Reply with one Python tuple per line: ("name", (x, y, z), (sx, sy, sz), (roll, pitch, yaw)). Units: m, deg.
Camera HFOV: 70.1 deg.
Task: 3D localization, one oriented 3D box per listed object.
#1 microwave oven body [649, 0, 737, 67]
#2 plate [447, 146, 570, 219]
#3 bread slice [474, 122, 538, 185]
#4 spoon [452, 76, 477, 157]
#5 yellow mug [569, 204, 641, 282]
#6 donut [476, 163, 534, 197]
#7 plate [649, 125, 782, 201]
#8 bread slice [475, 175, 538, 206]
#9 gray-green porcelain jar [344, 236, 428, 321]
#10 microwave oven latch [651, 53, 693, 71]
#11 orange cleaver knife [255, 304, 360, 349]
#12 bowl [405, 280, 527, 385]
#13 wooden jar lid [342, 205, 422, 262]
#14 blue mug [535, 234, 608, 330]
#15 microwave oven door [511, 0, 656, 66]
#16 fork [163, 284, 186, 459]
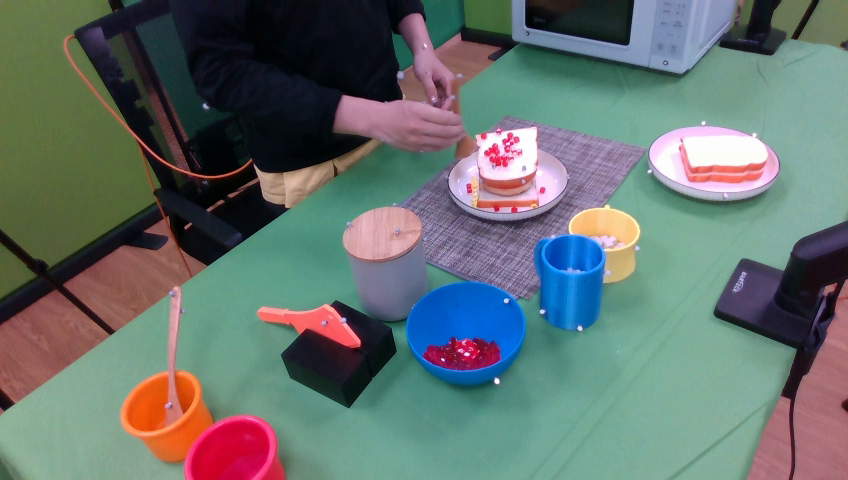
("microwave oven body", (0.475, -0.602, 1.411), (0.438, 0.261, 0.327), (23, 50, 32))
("plate", (0.145, -0.098, 1.046), (0.209, 0.038, 0.208), (-4, 40, 4))
("bread slice", (0.141, -0.144, 1.008), (0.107, 0.018, 0.133), (-8, 48, 9))
("spoon", (0.055, -0.180, 0.907), (0.041, 0.195, 0.021), (-28, 61, -4))
("yellow mug", (0.268, -0.005, 0.904), (0.099, 0.064, 0.130), (7, 41, 15))
("donut", (0.138, -0.116, 1.025), (0.099, 0.048, 0.098), (-8, 55, 13))
("plate", (0.493, -0.128, 1.036), (0.207, 0.039, 0.206), (-4, 41, 4))
("bread slice", (0.143, -0.104, 1.059), (0.105, 0.019, 0.131), (0, 44, 5))
("gray-green porcelain jar", (-0.049, 0.042, 0.849), (0.106, 0.127, 0.105), (-4, 41, 4))
("microwave oven latch", (0.532, -0.386, 1.301), (0.078, 0.029, 0.030), (27, 52, 34))
("orange cleaver knife", (-0.161, 0.115, 0.813), (0.210, 0.077, 0.012), (-4, 32, 47))
("bowl", (0.055, 0.131, 0.767), (0.151, 0.077, 0.150), (-4, 40, 4))
("wooden jar lid", (-0.055, -0.006, 0.808), (0.108, 0.021, 0.108), (-6, 40, 6))
("blue mug", (0.191, 0.048, 0.824), (0.082, 0.106, 0.115), (-26, 44, -21))
("microwave oven door", (0.351, -0.539, 1.349), (0.353, 0.245, 0.039), (24, 50, 31))
("fork", (-0.302, 0.157, 0.733), (0.028, 0.019, 0.207), (-3, 84, 15))
